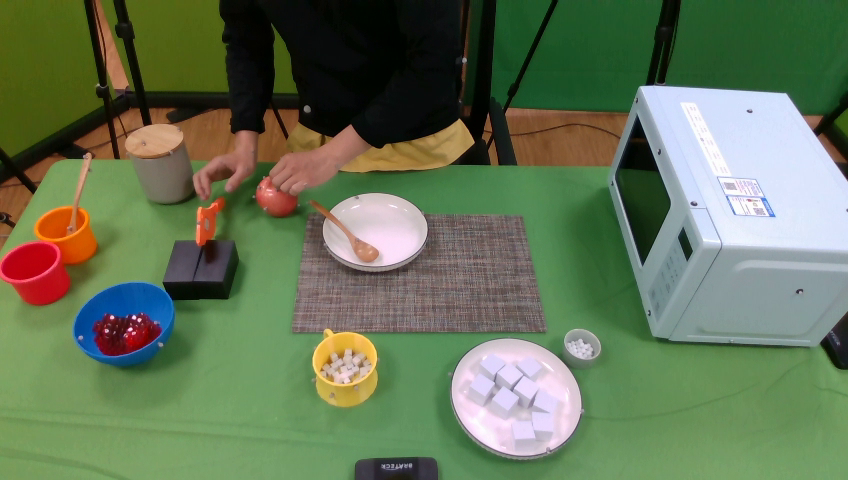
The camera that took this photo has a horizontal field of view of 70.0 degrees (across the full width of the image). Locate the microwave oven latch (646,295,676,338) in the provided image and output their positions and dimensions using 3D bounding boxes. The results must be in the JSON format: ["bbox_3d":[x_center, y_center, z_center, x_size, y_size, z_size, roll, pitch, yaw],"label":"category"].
[{"bbox_3d":[0.413,0.133,1.061,0.030,0.029,0.078,4,46,1],"label":"microwave oven latch"}]

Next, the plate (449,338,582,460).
[{"bbox_3d":[0.141,0.251,0.956,0.208,0.039,0.206,2,46,-2],"label":"plate"}]

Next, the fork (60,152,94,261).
[{"bbox_3d":[-0.638,-0.063,1.119,0.028,0.018,0.207,12,90,9],"label":"fork"}]

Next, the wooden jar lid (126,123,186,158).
[{"bbox_3d":[-0.519,-0.190,1.179,0.108,0.021,0.107,2,44,-2],"label":"wooden jar lid"}]

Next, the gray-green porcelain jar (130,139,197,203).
[{"bbox_3d":[-0.522,-0.148,1.225,0.106,0.127,0.105,2,47,-2],"label":"gray-green porcelain jar"}]

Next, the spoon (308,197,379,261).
[{"bbox_3d":[-0.158,-0.025,1.172,0.041,0.022,0.193,-39,72,-23],"label":"spoon"}]

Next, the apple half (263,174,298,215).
[{"bbox_3d":[-0.282,-0.087,1.222,0.053,0.075,0.080,17,44,8],"label":"apple half"}]

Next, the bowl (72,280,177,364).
[{"bbox_3d":[-0.473,0.147,0.982,0.151,0.077,0.150,2,46,-2],"label":"bowl"}]

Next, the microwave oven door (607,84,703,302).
[{"bbox_3d":[0.423,-0.096,1.137,0.039,0.245,0.353,3,46,-1],"label":"microwave oven door"}]

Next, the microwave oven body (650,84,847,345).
[{"bbox_3d":[0.569,-0.054,1.116,0.326,0.261,0.439,2,46,-1],"label":"microwave oven body"}]

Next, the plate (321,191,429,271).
[{"bbox_3d":[-0.094,-0.015,1.185,0.209,0.038,0.208,2,46,-2],"label":"plate"}]

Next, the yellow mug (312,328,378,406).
[{"bbox_3d":[-0.132,0.193,0.971,0.100,0.064,0.130,-22,51,-22],"label":"yellow mug"}]

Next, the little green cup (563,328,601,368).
[{"bbox_3d":[0.265,0.185,1.025,0.061,0.039,0.061,1,45,-1],"label":"little green cup"}]

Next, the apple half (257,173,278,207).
[{"bbox_3d":[-0.319,-0.098,1.227,0.033,0.081,0.081,15,48,7],"label":"apple half"}]

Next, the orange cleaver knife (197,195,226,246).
[{"bbox_3d":[-0.405,-0.041,1.157,0.012,0.077,0.210,2,14,-7],"label":"orange cleaver knife"}]
